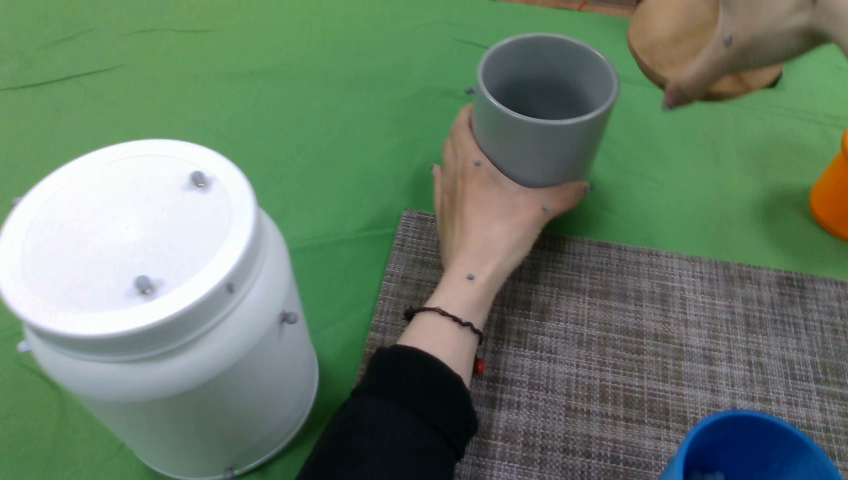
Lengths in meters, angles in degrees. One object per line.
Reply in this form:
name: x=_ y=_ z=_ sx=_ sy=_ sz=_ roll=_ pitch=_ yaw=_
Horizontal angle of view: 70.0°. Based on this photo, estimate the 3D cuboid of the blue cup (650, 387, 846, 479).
blue cup: x=0.164 y=0.149 z=0.335 sx=0.092 sy=0.101 sz=0.091 roll=0 pitch=52 yaw=0

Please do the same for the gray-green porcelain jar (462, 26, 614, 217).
gray-green porcelain jar: x=0.085 y=-0.089 z=0.493 sx=0.106 sy=0.127 sz=0.105 roll=1 pitch=54 yaw=-1

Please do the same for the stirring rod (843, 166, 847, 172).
stirring rod: x=0.365 y=-0.049 z=0.468 sx=0.014 sy=0.006 sz=0.176 roll=16 pitch=13 yaw=13

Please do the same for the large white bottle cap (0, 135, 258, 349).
large white bottle cap: x=-0.137 y=-0.004 z=0.282 sx=0.115 sy=0.018 sz=0.113 roll=1 pitch=54 yaw=-1

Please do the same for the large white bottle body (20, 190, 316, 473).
large white bottle body: x=-0.138 y=0.046 z=0.351 sx=0.131 sy=0.186 sz=0.129 roll=1 pitch=54 yaw=-1

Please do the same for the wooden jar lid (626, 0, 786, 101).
wooden jar lid: x=0.199 y=-0.139 z=0.434 sx=0.108 sy=0.021 sz=0.107 roll=-1 pitch=58 yaw=2
